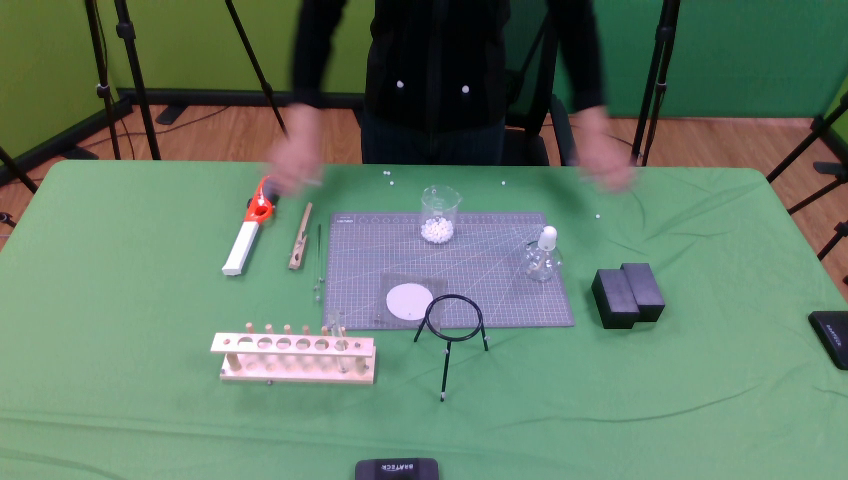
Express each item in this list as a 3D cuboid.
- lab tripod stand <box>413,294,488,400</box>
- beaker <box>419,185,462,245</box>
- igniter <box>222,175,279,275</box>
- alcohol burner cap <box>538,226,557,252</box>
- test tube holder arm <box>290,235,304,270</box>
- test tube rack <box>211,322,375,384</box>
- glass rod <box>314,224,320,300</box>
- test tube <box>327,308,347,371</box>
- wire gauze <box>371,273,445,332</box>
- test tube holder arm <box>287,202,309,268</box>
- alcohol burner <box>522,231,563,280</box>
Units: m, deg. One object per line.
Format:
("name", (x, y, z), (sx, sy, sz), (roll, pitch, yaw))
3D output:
("lab tripod stand", (0.044, 0.159, 0.972), (0.148, 0.132, 0.147), (2, 44, -2))
("beaker", (0.029, -0.047, 1.191), (0.084, 0.101, 0.073), (-5, 47, -10))
("igniter", (-0.341, -0.039, 1.206), (0.057, 0.025, 0.275), (-1, 45, 9))
("alcohol burner cap", (0.226, -0.004, 1.104), (0.034, 0.048, 0.033), (-1, 50, 1))
("test tube holder arm", (-0.243, 0.021, 1.164), (0.010, 0.015, 0.087), (29, 39, -26))
("test tube rack", (-0.203, 0.176, 0.969), (0.242, 0.085, 0.066), (3, 46, -2))
("glass rod", (-0.204, 0.038, 1.156), (0.008, 0.008, 0.198), (-2, 44, -6))
("test tube", (-0.132, 0.155, 0.926), (0.017, 0.151, 0.017), (0, 45, 0))
("wire gauze", (-0.028, 0.108, 1.100), (0.125, 0.011, 0.121), (7, 45, 4))
("test tube holder arm", (-0.247, -0.014, 1.193), (0.013, 0.015, 0.177), (29, 39, -26))
("alcohol burner", (0.224, 0.020, 1.131), (0.078, 0.119, 0.077), (4, 46, -4))
